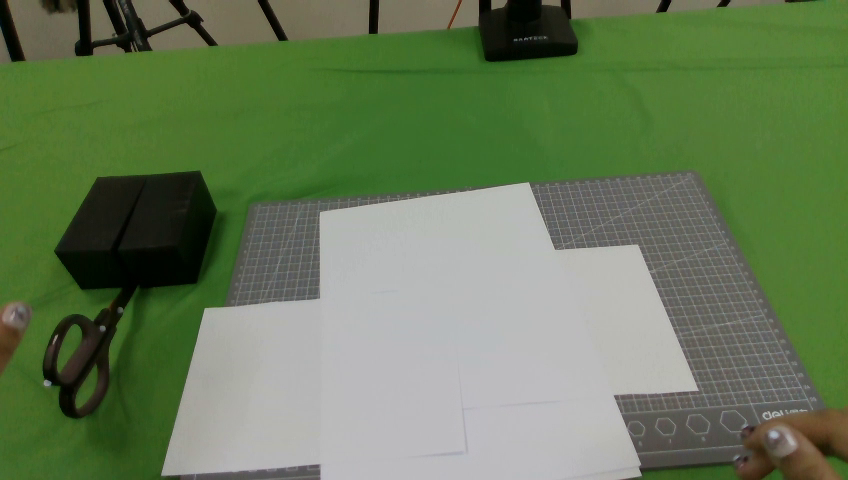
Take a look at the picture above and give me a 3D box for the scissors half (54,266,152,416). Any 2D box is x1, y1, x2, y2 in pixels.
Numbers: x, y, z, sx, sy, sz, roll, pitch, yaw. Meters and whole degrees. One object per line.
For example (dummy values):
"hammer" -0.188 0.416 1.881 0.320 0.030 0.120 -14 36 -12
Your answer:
"scissors half" -0.254 0.073 0.497 0.013 0.040 0.173 -7 35 3

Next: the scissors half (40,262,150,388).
"scissors half" -0.256 0.057 0.487 0.013 0.040 0.174 -3 22 0
